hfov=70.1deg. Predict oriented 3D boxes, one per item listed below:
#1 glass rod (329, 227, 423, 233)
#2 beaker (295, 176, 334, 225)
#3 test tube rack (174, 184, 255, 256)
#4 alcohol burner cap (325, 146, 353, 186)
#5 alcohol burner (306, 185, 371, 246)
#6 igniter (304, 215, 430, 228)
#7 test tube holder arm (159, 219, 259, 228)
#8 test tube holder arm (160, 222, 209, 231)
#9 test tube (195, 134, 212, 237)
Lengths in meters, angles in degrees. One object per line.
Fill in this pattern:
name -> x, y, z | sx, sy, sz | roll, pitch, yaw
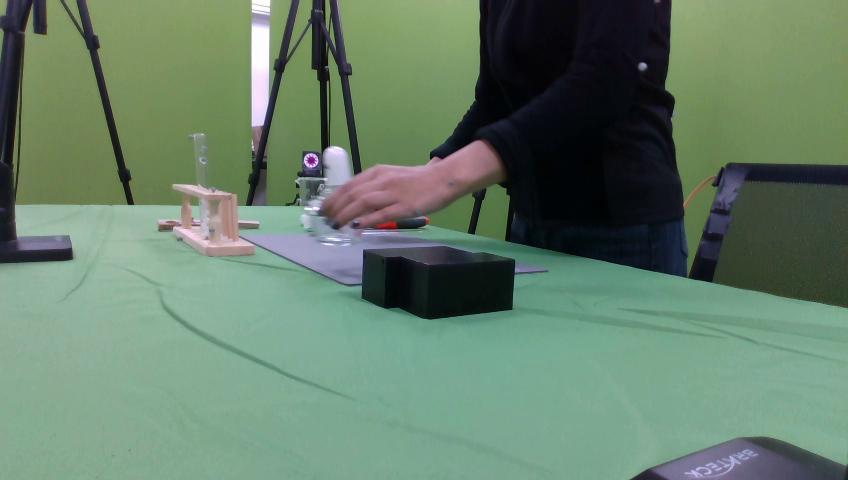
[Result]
glass rod -> -0.087, -0.020, 1.148 | 0.201, 0.008, 0.008 | -3, 8, -32
beaker -> -0.224, -0.080, 1.247 | 0.084, 0.100, 0.073 | -1, 8, -18
test tube rack -> -0.327, -0.036, 0.928 | 0.067, 0.085, 0.241 | -2, 9, -32
alcohol burner cap -> -0.104, -0.089, 0.725 | 0.034, 0.048, 0.034 | -5, 9, 1
alcohol burner -> -0.103, -0.054, 0.733 | 0.078, 0.119, 0.078 | 1, 14, 0
igniter -> -0.109, -0.037, 1.228 | 0.278, 0.025, 0.057 | -3, -1, -35
test tube holder arm -> -0.390, -0.030, 1.107 | 0.179, 0.015, 0.013 | -3, 45, -39
test tube holder arm -> -0.423, -0.024, 1.076 | 0.088, 0.015, 0.010 | -3, 44, -38
test tube -> -0.320, -0.079, 0.880 | 0.017, 0.150, 0.017 | -3, 3, 1
